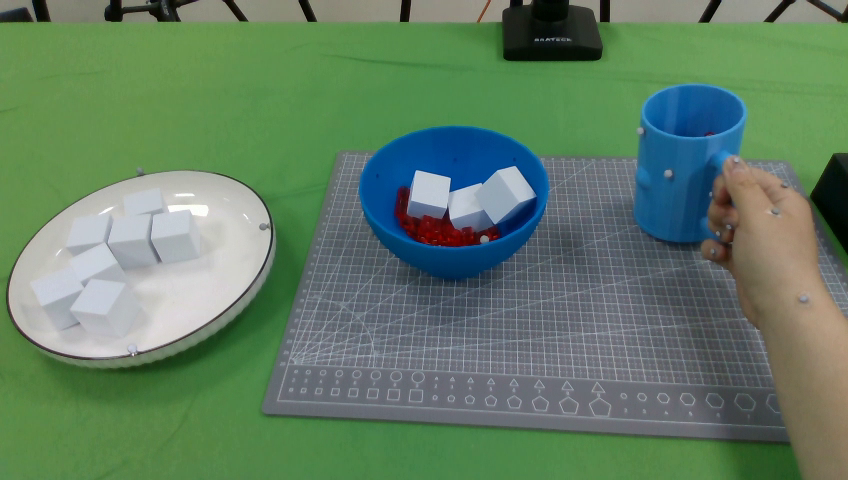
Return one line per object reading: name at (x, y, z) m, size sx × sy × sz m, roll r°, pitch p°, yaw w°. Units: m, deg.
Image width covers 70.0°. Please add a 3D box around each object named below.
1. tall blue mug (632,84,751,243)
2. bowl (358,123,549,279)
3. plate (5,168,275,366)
tall blue mug at (0.227, -0.056, 0.496) m, size 0.078 × 0.109 × 0.106 m, roll -38°, pitch 49°, yaw -24°
bowl at (0.024, -0.021, 0.501) m, size 0.151 × 0.077 × 0.150 m, roll -1°, pitch 46°, yaw 1°
plate at (-0.227, 0.019, 0.504) m, size 0.209 × 0.038 × 0.207 m, roll 0°, pitch 46°, yaw 1°
